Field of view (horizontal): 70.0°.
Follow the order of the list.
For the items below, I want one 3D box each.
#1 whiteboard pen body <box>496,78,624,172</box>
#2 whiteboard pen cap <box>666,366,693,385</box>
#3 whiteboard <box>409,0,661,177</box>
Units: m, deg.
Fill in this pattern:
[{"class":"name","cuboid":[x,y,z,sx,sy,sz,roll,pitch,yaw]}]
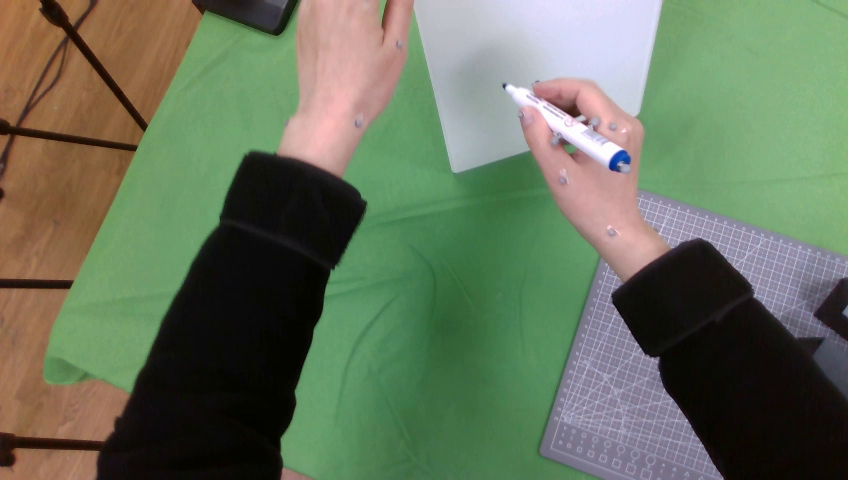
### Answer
[{"class":"whiteboard pen body","cuboid":[0.091,-0.088,0.433,0.017,0.017,0.139,-38,48,-2]},{"class":"whiteboard pen cap","cuboid":[0.259,0.136,0.615,0.018,0.033,0.018,0,84,3]},{"class":"whiteboard","cuboid":[0.091,-0.230,0.573,0.217,0.308,0.142,-16,61,2]}]
